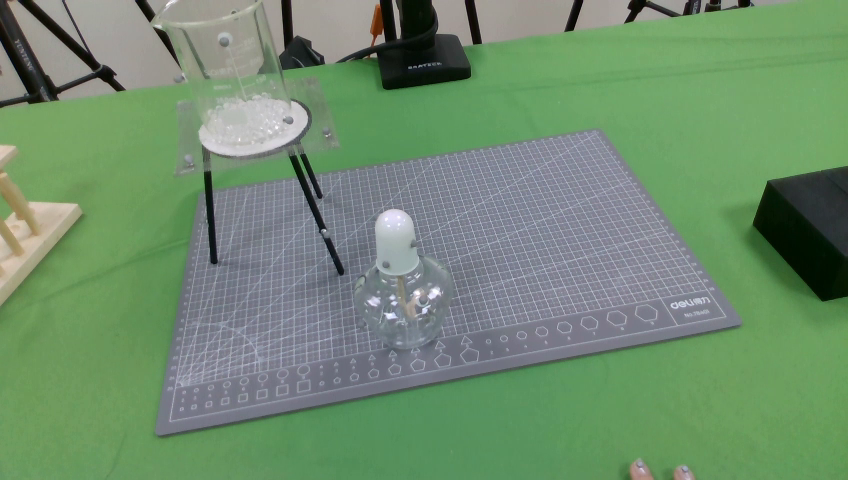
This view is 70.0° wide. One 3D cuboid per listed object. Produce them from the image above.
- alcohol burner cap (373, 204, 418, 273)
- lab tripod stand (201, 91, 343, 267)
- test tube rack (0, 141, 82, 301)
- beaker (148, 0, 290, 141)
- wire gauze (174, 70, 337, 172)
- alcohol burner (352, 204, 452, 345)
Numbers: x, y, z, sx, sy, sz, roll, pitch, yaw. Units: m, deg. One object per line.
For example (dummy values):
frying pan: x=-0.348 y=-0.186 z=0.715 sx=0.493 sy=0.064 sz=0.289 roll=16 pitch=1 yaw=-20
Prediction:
alcohol burner cap: x=-0.022 y=-0.003 z=0.433 sx=0.034 sy=0.048 sz=0.033 roll=-1 pitch=40 yaw=2
lab tripod stand: x=-0.135 y=-0.050 z=0.536 sx=0.148 sy=0.133 sz=0.147 roll=-3 pitch=45 yaw=4
test tube rack: x=-0.419 y=0.015 z=0.536 sx=0.066 sy=0.086 sz=0.240 roll=4 pitch=43 yaw=10
beaker: x=-0.148 y=-0.133 z=0.457 sx=0.084 sy=0.101 sz=0.073 roll=-14 pitch=43 yaw=-7
wire gauze: x=-0.140 y=-0.098 z=0.491 sx=0.125 sy=0.011 sz=0.120 roll=-16 pitch=41 yaw=-6
alcohol burner: x=-0.018 y=0.023 z=0.458 sx=0.078 sy=0.120 sz=0.077 roll=-4 pitch=41 yaw=4
